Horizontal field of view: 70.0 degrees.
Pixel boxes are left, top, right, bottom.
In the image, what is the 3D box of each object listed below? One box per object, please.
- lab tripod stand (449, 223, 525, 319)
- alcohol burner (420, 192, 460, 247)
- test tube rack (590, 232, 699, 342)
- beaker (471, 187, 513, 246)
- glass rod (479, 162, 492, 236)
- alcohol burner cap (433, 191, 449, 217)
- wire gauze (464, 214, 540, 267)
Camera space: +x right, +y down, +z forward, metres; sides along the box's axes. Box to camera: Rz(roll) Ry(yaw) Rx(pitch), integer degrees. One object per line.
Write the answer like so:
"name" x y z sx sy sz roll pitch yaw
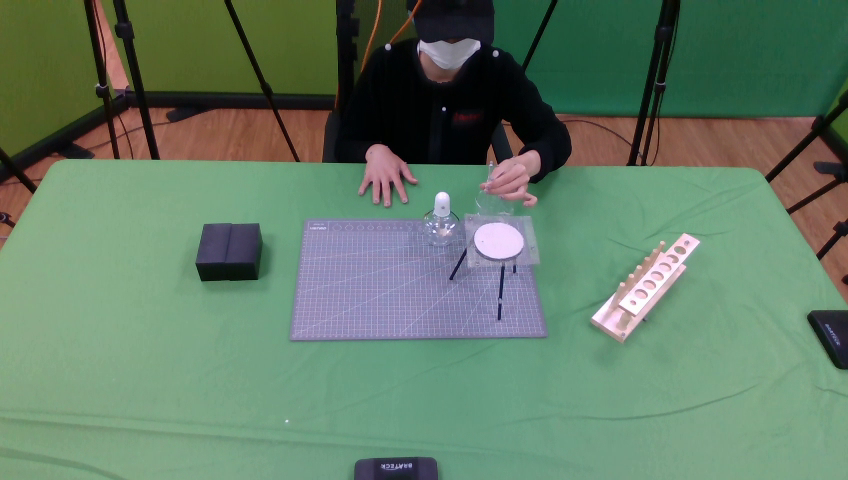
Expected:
"lab tripod stand" 0.120 0.046 1.080 0.148 0.132 0.147 1 47 -1
"alcohol burner" 0.032 -0.045 1.176 0.078 0.120 0.077 2 44 -1
"test tube rack" 0.407 0.074 1.112 0.066 0.085 0.242 35 53 26
"beaker" 0.134 -0.042 1.190 0.083 0.101 0.074 34 53 25
"glass rod" 0.116 -0.072 1.142 0.008 0.201 0.008 1 50 -1
"alcohol burner cap" 0.033 -0.070 1.150 0.034 0.048 0.033 0 45 0
"wire gauze" 0.131 -0.002 1.034 0.121 0.011 0.124 1 45 -2
